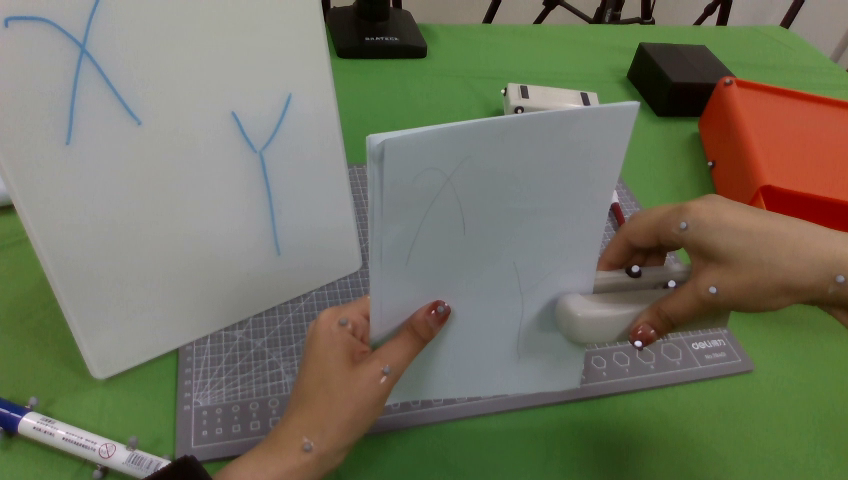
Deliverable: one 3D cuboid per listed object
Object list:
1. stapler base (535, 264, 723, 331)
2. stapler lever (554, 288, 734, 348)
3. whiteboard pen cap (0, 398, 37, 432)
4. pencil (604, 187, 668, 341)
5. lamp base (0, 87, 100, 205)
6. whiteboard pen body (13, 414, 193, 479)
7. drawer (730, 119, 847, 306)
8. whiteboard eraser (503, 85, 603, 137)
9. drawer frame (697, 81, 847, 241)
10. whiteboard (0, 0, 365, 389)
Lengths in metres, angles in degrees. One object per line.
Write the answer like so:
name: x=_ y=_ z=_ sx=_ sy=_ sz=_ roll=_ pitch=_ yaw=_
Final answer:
stapler base: x=0.142 y=0.044 z=0.407 sx=0.131 sy=0.041 sz=0.024 roll=-6 pitch=33 yaw=-8
stapler lever: x=0.144 y=0.050 z=0.394 sx=0.118 sy=0.027 sz=0.040 roll=0 pitch=32 yaw=1
whiteboard pen cap: x=-0.267 y=0.112 z=0.388 sx=0.033 sy=0.018 sz=0.018 roll=16 pitch=44 yaw=9
pencil: x=0.201 y=0.016 z=0.577 sx=0.012 sy=0.012 sz=0.192 roll=3 pitch=46 yaw=-8
lamp base: x=-0.390 y=-0.146 z=0.509 sx=0.178 sy=0.182 sz=0.160 roll=23 pitch=45 yaw=16
whiteboard pen body: x=-0.211 y=0.130 z=0.380 sx=0.140 sy=0.017 sz=0.017 roll=16 pitch=44 yaw=7
drawer: x=0.414 y=-0.030 z=0.617 sx=0.194 sy=0.074 sz=0.210 roll=11 pitch=44 yaw=2
whiteboard eraser: x=0.151 y=-0.151 z=0.719 sx=0.113 sy=0.042 sz=0.055 roll=7 pitch=46 yaw=-4
drawer frame: x=0.423 y=-0.073 z=0.661 sx=0.202 sy=0.083 sz=0.211 roll=11 pitch=43 yaw=1
whiteboard: x=-0.188 y=-0.091 z=0.444 sx=0.217 sy=0.308 sz=0.142 roll=-23 pitch=34 yaw=-28
